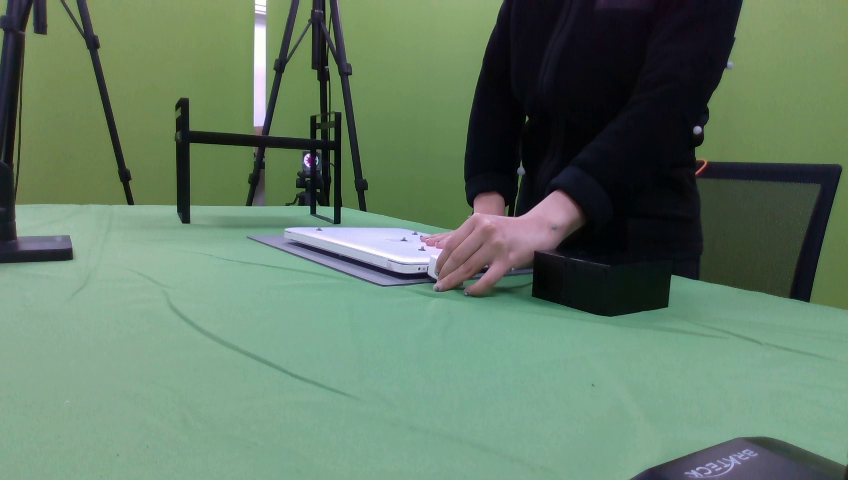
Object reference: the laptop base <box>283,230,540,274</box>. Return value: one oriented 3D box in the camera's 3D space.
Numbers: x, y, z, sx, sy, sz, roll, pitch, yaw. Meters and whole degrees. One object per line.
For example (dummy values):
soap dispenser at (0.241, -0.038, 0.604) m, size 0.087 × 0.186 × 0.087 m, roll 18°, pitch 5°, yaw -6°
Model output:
laptop base at (-0.034, 0.013, 0.896) m, size 0.237 × 0.023 × 0.352 m, roll 1°, pitch 7°, yaw -36°

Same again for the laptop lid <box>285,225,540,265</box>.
laptop lid at (-0.031, 0.003, 0.896) m, size 0.243 × 0.013 × 0.355 m, roll 1°, pitch 8°, yaw -35°

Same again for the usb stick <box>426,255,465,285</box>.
usb stick at (0.020, 0.033, 0.693) m, size 0.021 × 0.027 × 0.059 m, roll 1°, pitch 7°, yaw -34°
